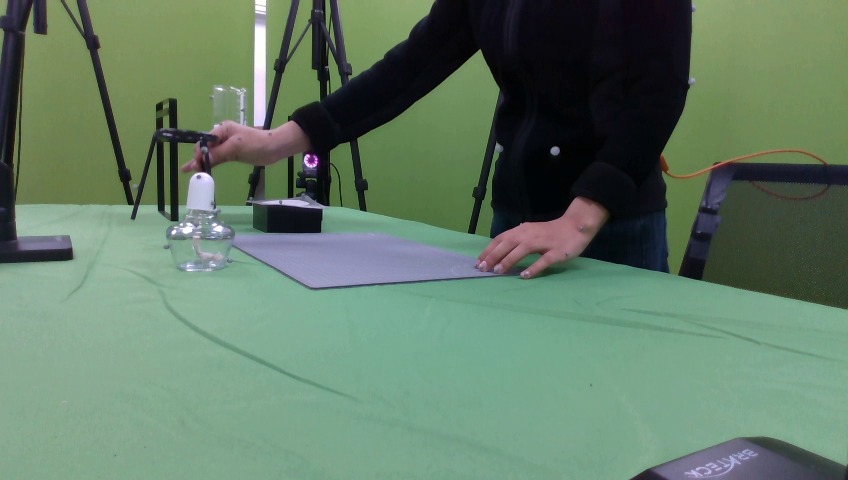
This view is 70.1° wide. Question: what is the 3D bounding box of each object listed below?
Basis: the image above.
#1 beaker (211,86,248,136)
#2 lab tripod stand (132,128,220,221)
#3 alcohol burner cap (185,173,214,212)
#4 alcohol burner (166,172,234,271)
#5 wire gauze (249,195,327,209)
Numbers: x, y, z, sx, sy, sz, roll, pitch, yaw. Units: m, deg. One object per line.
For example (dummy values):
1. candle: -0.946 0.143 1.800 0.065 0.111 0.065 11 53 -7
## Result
1. beaker: -0.414 -0.274 1.297 0.074 0.100 0.083 -5 11 -44
2. lab tripod stand: -0.353 -0.095 0.903 0.148 0.131 0.148 1 2 0
3. alcohol burner cap: -0.269 -0.057 0.730 0.034 0.048 0.034 5 1 0
4. alcohol burner: -0.271 -0.022 0.734 0.078 0.119 0.078 2 6 0
5. wire gauze: -0.260 -0.071 1.138 0.126 0.011 0.121 -3 12 -28
